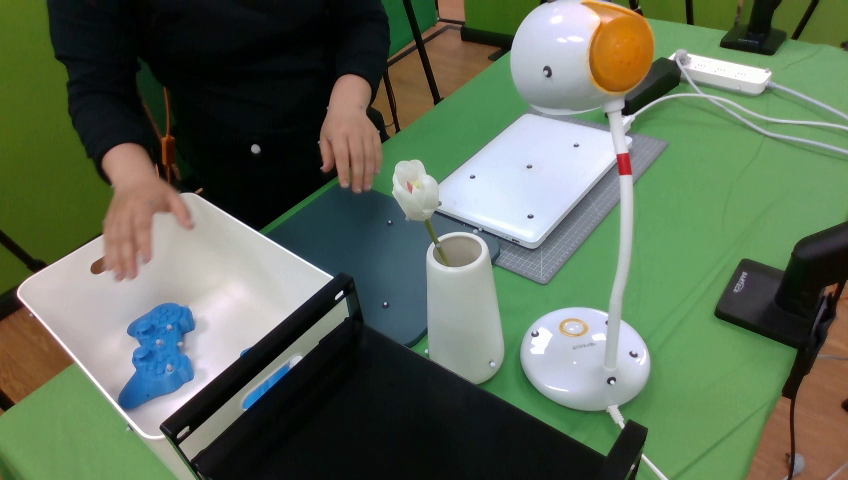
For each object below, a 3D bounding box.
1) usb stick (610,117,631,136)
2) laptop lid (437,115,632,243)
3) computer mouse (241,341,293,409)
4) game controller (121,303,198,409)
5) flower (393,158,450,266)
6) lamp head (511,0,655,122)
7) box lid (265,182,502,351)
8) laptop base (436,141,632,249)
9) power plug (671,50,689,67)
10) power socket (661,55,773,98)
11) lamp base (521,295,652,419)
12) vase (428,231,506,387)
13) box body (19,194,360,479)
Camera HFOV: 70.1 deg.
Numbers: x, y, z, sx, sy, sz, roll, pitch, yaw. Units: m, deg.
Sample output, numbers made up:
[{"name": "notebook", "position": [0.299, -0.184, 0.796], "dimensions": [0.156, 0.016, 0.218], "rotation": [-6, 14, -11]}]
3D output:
[{"name": "usb stick", "position": [0.369, -0.208, 1.147], "dimensions": [0.021, 0.027, 0.059], "rotation": [26, 56, 33]}, {"name": "laptop lid", "position": [0.189, -0.126, 1.081], "dimensions": [0.239, 0.013, 0.358], "rotation": [23, 49, 35]}, {"name": "computer mouse", "position": [-0.200, 0.177, 0.776], "dimensions": [0.063, 0.041, 0.116], "rotation": [-11, 44, -8]}, {"name": "game controller", "position": [-0.364, 0.149, 0.828], "dimensions": [0.097, 0.052, 0.154], "rotation": [-13, 41, -9]}, {"name": "flower", "position": [0.028, 0.036, 0.664], "dimensions": [0.043, 0.364, 0.038], "rotation": [35, 73, 30]}, {"name": "lamp head", "position": [0.155, -0.168, 0.563], "dimensions": [0.113, 0.113, 0.122], "rotation": [-18, 23, -12]}, {"name": "box lid", "position": [-0.087, 0.023, 0.971], "dimensions": [0.368, 0.015, 0.264], "rotation": [23, 49, 31]}, {"name": "laptop base", "position": [0.193, -0.117, 1.087], "dimensions": [0.233, 0.023, 0.355], "rotation": [21, 48, 34]}, {"name": "power plug", "position": [0.540, -0.379, 1.302], "dimensions": [0.073, 0.053, 0.035], "rotation": [-31, 46, -23]}, {"name": "power socket", "position": [0.619, -0.353, 1.289], "dimensions": [0.225, 0.033, 0.072], "rotation": [26, 51, 33]}, {"name": "lamp base", "position": [0.201, 0.095, 0.710], "dimensions": [0.161, 0.181, 0.178], "rotation": [-16, 43, -10]}, {"name": "vase", "position": [0.050, 0.087, 0.728], "dimensions": [0.098, 0.201, 0.097], "rotation": [-3, 40, 3]}, {"name": "box body", "position": [-0.288, 0.118, 0.772], "dimensions": [0.361, 0.161, 0.255], "rotation": [26, 50, 33]}]
